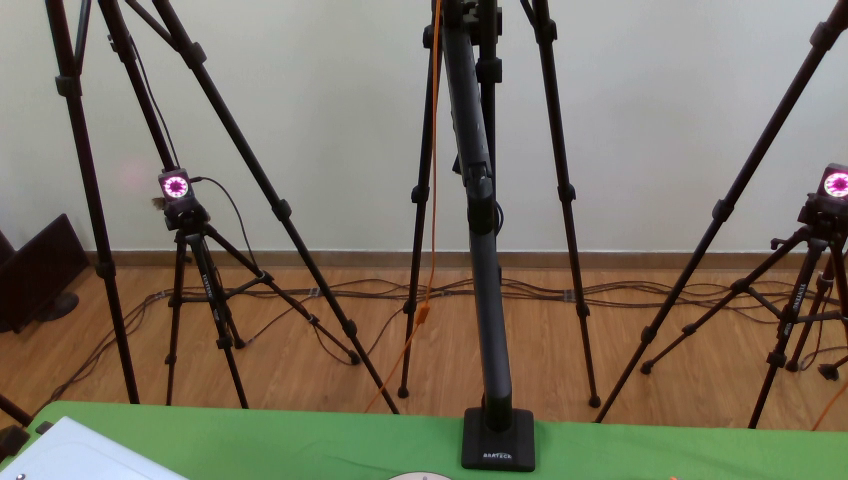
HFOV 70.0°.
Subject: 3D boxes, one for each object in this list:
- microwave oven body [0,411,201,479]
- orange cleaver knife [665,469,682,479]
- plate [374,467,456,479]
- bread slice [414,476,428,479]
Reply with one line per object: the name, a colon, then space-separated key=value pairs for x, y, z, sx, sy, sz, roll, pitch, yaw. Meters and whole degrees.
microwave oven body: x=-0.453 y=0.476 z=0.687 sx=0.324 sy=0.262 sz=0.440 roll=14 pitch=42 yaw=23
orange cleaver knife: x=0.350 y=0.418 z=0.813 sx=0.012 sy=0.078 sz=0.209 roll=-3 pitch=67 yaw=3
plate: x=-0.016 y=0.433 z=0.882 sx=0.207 sy=0.039 sz=0.205 roll=-3 pitch=37 yaw=3
bread slice: x=-0.002 y=0.395 z=0.838 sx=0.018 sy=0.135 sz=0.106 roll=-3 pitch=41 yaw=7
